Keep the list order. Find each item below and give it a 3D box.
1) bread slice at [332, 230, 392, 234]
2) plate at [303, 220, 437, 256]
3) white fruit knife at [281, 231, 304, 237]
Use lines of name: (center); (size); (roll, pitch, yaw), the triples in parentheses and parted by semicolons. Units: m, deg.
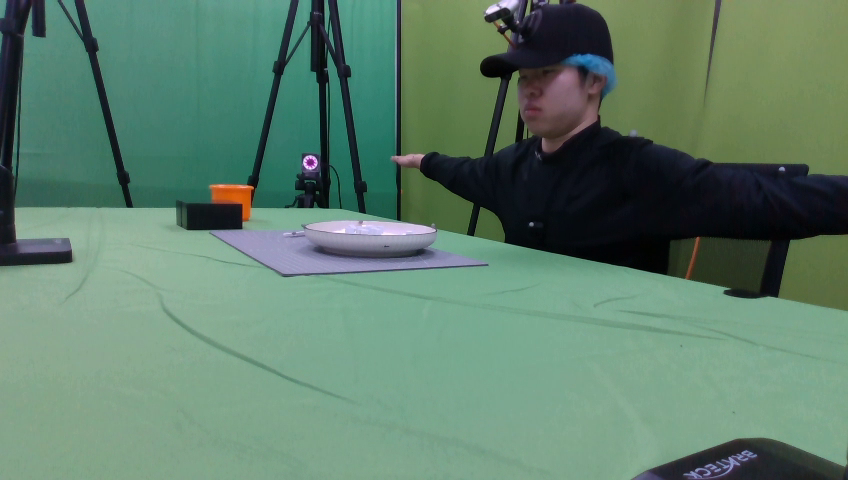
bread slice: (-0.088, -0.001, 0.947); (0.105, 0.019, 0.131); (-5, 11, -45)
plate: (-0.084, -0.003, 0.951); (0.209, 0.038, 0.209); (2, 7, 0)
white fruit knife: (-0.178, -0.017, 1.131); (0.208, 0.016, 0.027); (-8, -17, -47)
